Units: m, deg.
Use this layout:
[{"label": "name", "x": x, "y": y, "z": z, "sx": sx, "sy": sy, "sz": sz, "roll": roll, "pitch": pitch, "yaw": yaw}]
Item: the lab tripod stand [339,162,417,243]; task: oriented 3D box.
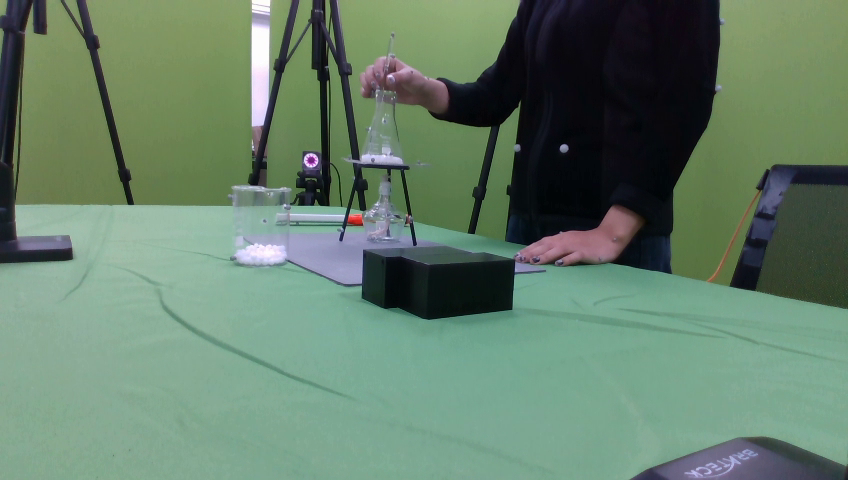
[{"label": "lab tripod stand", "x": -0.067, "y": -0.065, "z": 1.027, "sx": 0.148, "sy": 0.131, "sz": 0.148, "roll": 4, "pitch": 7, "yaw": 0}]

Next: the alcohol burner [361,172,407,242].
[{"label": "alcohol burner", "x": -0.067, "y": -0.056, "z": 1.030, "sx": 0.078, "sy": 0.119, "sz": 0.078, "roll": 4, "pitch": 9, "yaw": 0}]

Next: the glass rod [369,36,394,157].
[{"label": "glass rod", "x": -0.070, "y": -0.237, "z": 1.005, "sx": 0.008, "sy": 0.199, "sz": 0.008, "roll": 11, "pitch": 10, "yaw": -2}]

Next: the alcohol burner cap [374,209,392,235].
[{"label": "alcohol burner cap", "x": -0.078, "y": -0.036, "z": 1.148, "sx": 0.034, "sy": 0.048, "sz": 0.034, "roll": 3, "pitch": 8, "yaw": 0}]

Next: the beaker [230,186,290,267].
[{"label": "beaker", "x": -0.209, "y": -0.019, "z": 0.778, "sx": 0.074, "sy": 0.100, "sz": 0.084, "roll": 3, "pitch": 6, "yaw": 4}]

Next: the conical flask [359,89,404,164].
[{"label": "conical flask", "x": -0.068, "y": -0.189, "z": 1.011, "sx": 0.075, "sy": 0.122, "sz": 0.075, "roll": 4, "pitch": 6, "yaw": 0}]

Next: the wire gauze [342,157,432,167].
[{"label": "wire gauze", "x": -0.065, "y": -0.130, "z": 1.017, "sx": 0.122, "sy": 0.011, "sz": 0.124, "roll": 2, "pitch": 5, "yaw": -27}]

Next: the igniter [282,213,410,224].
[{"label": "igniter", "x": -0.159, "y": -0.046, "z": 1.287, "sx": 0.278, "sy": 0.025, "sz": 0.057, "roll": -1, "pitch": -2, "yaw": -21}]
